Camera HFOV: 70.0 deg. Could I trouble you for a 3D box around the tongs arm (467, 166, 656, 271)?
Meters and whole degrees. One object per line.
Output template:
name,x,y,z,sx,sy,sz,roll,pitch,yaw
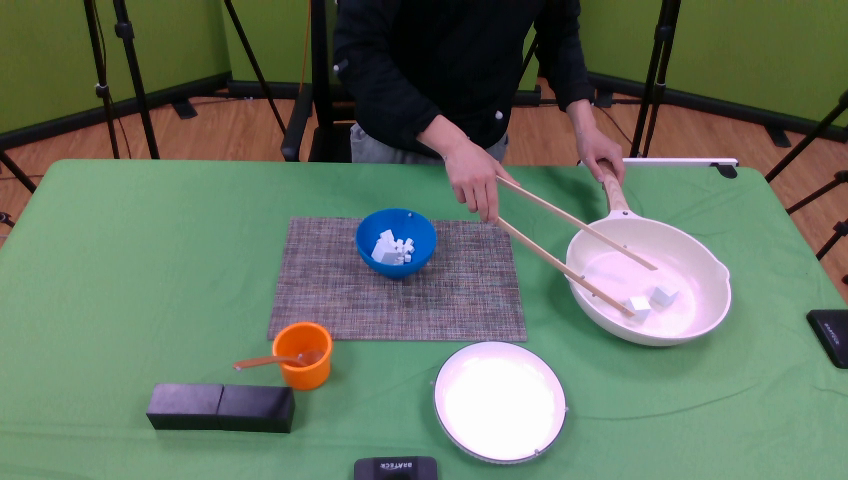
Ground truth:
tongs arm,0.247,-0.037,1.081,0.388,0.028,0.028,29,79,-6

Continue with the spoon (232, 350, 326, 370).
spoon,-0.216,0.182,0.919,0.041,0.194,0.021,43,102,27

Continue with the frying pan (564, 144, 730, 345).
frying pan,0.396,-0.008,1.179,0.307,0.103,0.484,0,55,-5

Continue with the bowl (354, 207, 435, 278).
bowl,-0.055,0.018,1.132,0.151,0.077,0.150,2,46,-2

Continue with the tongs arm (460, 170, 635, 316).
tongs arm,0.219,0.008,1.066,0.385,0.026,0.050,34,75,-4

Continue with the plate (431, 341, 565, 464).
plate,0.114,0.255,0.951,0.208,0.039,0.206,3,46,-2
